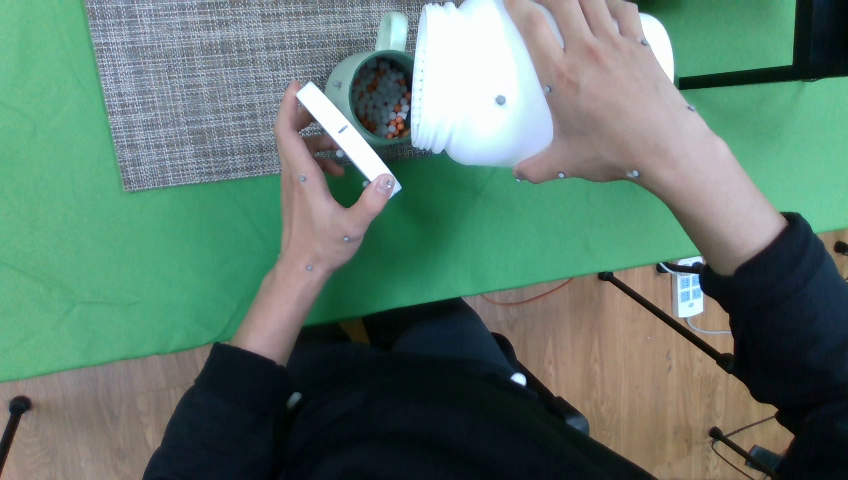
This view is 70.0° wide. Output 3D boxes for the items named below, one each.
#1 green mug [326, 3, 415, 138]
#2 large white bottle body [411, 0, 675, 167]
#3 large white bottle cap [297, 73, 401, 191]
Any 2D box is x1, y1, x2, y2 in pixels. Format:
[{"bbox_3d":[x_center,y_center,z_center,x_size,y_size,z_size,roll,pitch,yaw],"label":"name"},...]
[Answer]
[{"bbox_3d":[-0.038,-0.159,0.571,0.093,0.104,0.125,8,99,-19],"label":"green mug"},{"bbox_3d":[0.086,-0.129,0.488,0.185,0.130,0.131,3,101,-8],"label":"large white bottle body"},{"bbox_3d":[-0.062,-0.089,0.509,0.018,0.114,0.115,-41,110,1],"label":"large white bottle cap"}]
